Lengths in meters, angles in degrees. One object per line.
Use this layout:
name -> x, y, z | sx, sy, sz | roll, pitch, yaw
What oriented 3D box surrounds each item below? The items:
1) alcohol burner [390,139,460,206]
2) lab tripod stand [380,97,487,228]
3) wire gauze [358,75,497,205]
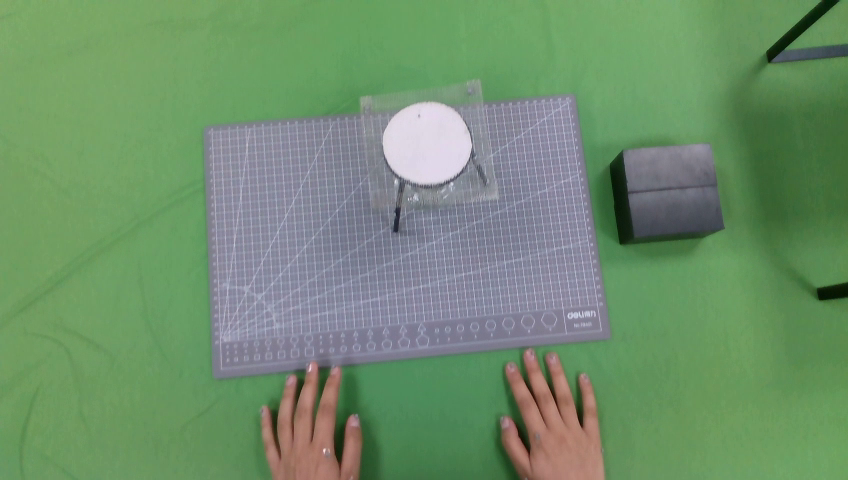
alcohol burner -> 0.001, -0.078, 0.662 | 0.078, 0.119, 0.077 | 0, 81, 2
lab tripod stand -> -0.001, -0.089, 0.654 | 0.148, 0.132, 0.148 | 0, 80, 2
wire gauze -> 0.002, -0.096, 0.586 | 0.125, 0.011, 0.121 | -6, 80, -1
